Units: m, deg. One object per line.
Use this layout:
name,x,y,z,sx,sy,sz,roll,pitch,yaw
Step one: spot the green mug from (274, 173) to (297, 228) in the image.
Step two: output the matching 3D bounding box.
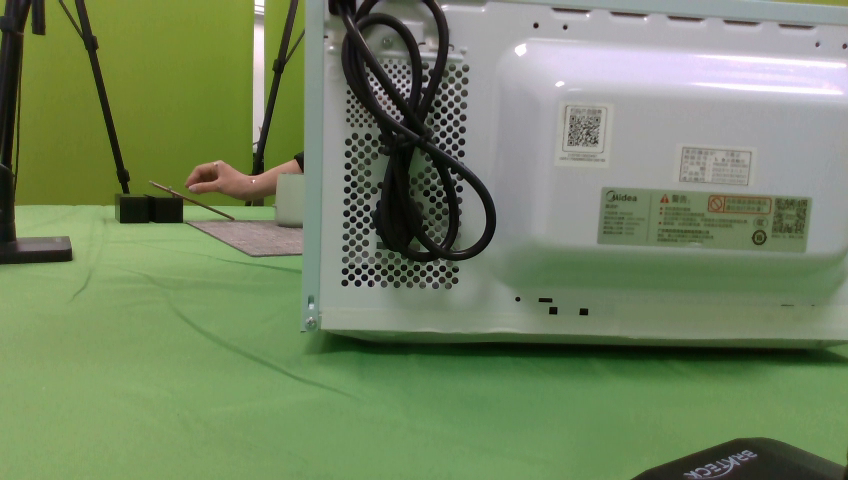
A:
green mug,-0.242,-0.081,1.221,0.092,0.105,0.126,8,9,39

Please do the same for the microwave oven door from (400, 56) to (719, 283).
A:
microwave oven door,0.155,-0.078,0.697,0.356,0.243,0.039,2,8,-5

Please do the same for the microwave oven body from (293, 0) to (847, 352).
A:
microwave oven body,0.122,-0.055,0.550,0.442,0.260,0.325,3,7,-5

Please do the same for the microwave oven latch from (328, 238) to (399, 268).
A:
microwave oven latch,-0.069,0.015,0.694,0.079,0.029,0.030,3,7,-3

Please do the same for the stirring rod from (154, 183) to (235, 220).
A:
stirring rod,-0.472,-0.079,1.252,0.177,0.006,0.014,27,4,-35
